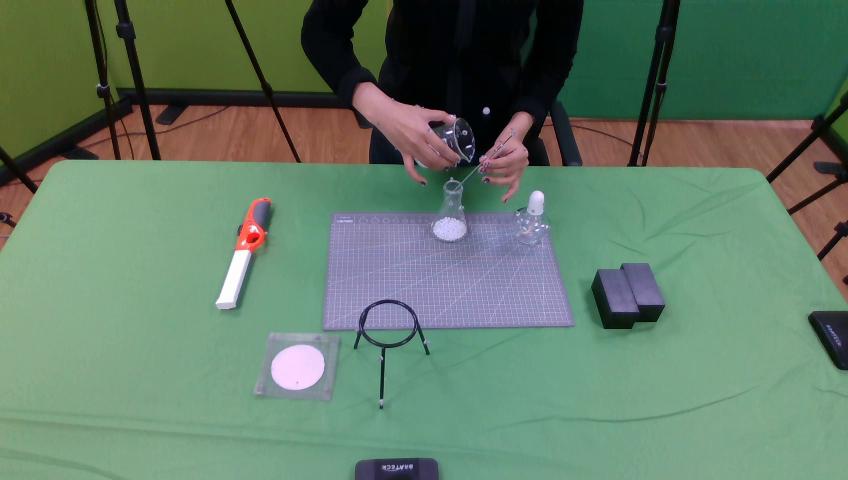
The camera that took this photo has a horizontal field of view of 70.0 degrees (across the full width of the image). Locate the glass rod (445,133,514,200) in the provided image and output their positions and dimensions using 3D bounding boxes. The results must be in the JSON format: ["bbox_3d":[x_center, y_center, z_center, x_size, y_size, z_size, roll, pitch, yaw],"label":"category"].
[{"bbox_3d":[0.098,-0.130,1.105,0.008,0.200,0.008,23,46,-25],"label":"glass rod"}]

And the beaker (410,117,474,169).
[{"bbox_3d":[0.033,-0.173,1.113,0.100,0.084,0.074,-11,18,33],"label":"beaker"}]

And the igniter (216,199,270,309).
[{"bbox_3d":[-0.342,0.016,1.153,0.057,0.025,0.275,-3,45,7],"label":"igniter"}]

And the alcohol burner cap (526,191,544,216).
[{"bbox_3d":[0.216,-0.073,1.170,0.034,0.048,0.033,0,42,1],"label":"alcohol burner cap"}]

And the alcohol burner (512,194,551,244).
[{"bbox_3d":[0.215,-0.048,1.196,0.078,0.119,0.077,4,46,-4],"label":"alcohol burner"}]

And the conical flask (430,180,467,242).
[{"bbox_3d":[0.052,-0.060,1.188,0.075,0.122,0.075,2,46,-2],"label":"conical flask"}]

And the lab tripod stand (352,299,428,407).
[{"bbox_3d":[-0.056,0.166,0.958,0.148,0.132,0.147,3,44,-2],"label":"lab tripod stand"}]

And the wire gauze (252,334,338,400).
[{"bbox_3d":[-0.209,0.204,0.996,0.125,0.011,0.120,3,45,1],"label":"wire gauze"}]
